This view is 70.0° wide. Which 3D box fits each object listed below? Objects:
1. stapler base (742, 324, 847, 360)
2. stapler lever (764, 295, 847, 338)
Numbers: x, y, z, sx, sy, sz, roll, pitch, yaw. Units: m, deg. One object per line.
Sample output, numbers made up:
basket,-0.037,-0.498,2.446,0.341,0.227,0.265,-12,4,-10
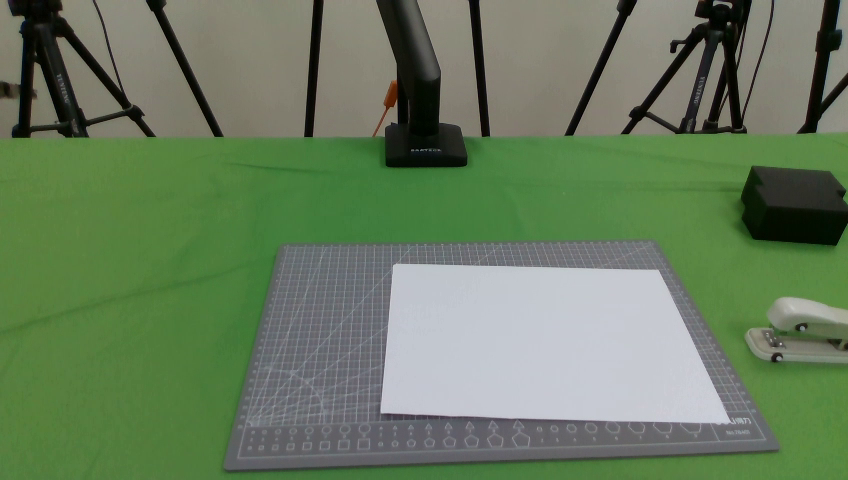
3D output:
stapler base,0.382,0.094,0.590,0.130,0.024,0.041,3,39,-1
stapler lever,0.384,0.074,0.575,0.118,0.040,0.026,2,39,-1
